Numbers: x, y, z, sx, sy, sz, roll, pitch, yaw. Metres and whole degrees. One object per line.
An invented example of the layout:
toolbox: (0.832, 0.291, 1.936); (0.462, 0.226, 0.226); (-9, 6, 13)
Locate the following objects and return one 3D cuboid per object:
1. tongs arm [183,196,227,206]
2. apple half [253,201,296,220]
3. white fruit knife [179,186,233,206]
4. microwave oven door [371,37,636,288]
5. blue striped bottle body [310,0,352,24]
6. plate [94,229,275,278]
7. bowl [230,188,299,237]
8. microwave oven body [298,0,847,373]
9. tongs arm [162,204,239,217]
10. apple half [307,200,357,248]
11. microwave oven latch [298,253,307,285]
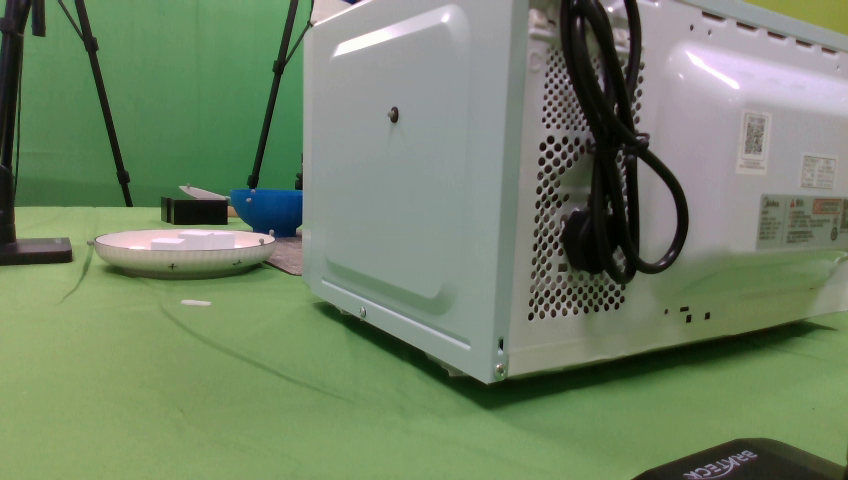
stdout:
tongs arm: (-0.404, -0.081, 1.479); (0.385, 0.026, 0.050); (3, 8, -2)
apple half: (-0.264, -0.053, 1.067); (0.081, 0.033, 0.081); (1, 8, 0)
white fruit knife: (-0.413, -0.081, 1.270); (0.208, 0.027, 0.016); (18, 14, -41)
microwave oven door: (0.110, -0.080, 0.686); (0.358, 0.243, 0.039); (-2, 9, -33)
blue striped bottle body: (-0.130, -0.377, 0.908); (0.063, 0.120, 0.063); (12, 9, -2)
plate: (-0.291, 0.016, 0.750); (0.208, 0.039, 0.207); (2, 7, 0)
bowl: (-0.264, -0.048, 1.065); (0.151, 0.077, 0.151); (3, 8, 0)
microwave oven body: (0.151, -0.055, 0.542); (0.444, 0.260, 0.324); (-2, 7, -33)
tongs arm: (-0.396, -0.066, 1.399); (0.389, 0.028, 0.028); (1, 5, -15)
apple half: (-0.135, -0.024, 0.942); (0.053, 0.074, 0.081); (13, 8, 38)
microwave oven latch: (-0.082, 0.027, 0.583); (0.079, 0.029, 0.030); (-2, 8, -34)
